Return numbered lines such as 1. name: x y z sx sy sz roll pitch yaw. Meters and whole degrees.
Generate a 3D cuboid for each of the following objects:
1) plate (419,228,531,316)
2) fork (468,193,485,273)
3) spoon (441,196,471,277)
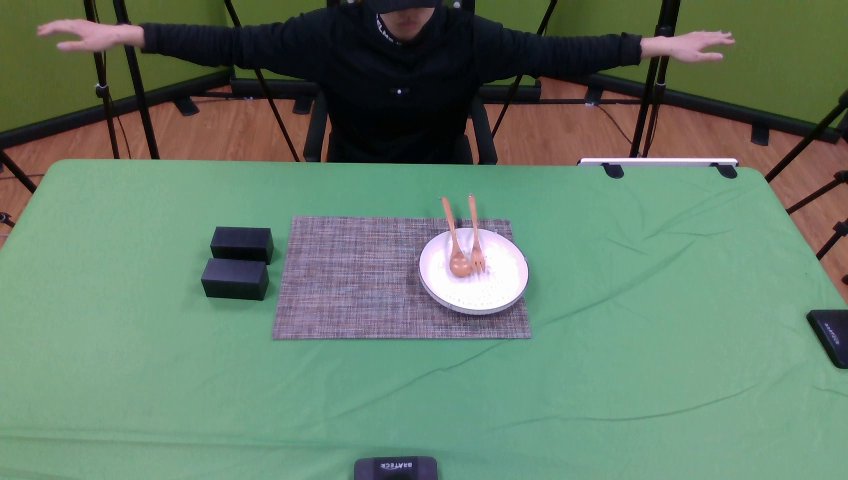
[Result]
1. plate: 0.093 0.062 1.131 0.208 0.039 0.206 2 46 -2
2. fork: 0.099 -0.017 1.188 0.028 0.019 0.206 -2 54 -1
3. spoon: 0.056 -0.010 1.176 0.041 0.022 0.192 -7 60 -5
